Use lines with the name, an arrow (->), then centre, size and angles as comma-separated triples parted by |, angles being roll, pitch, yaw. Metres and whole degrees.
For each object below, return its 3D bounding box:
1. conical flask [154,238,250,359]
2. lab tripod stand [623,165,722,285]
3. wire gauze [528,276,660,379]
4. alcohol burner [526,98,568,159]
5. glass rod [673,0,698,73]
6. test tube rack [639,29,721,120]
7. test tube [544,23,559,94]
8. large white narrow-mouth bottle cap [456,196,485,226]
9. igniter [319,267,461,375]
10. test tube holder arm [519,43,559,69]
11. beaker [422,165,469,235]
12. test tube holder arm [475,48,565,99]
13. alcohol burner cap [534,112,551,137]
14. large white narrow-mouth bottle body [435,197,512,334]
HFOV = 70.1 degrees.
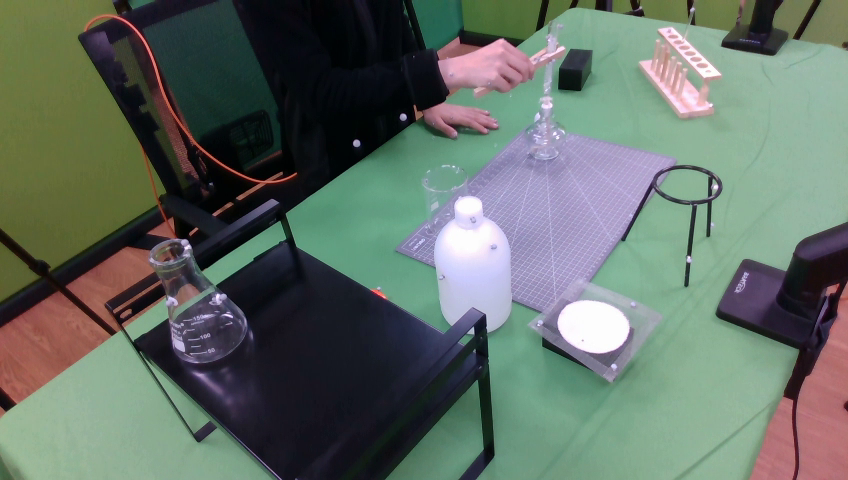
conical flask -> -0.225, 0.055, 0.597 | 0.075, 0.122, 0.075 | -5, 41, 4
lab tripod stand -> 0.365, -0.030, 0.874 | 0.148, 0.132, 0.147 | -6, 41, 6
wire gauze -> 0.214, 0.103, 0.763 | 0.124, 0.011, 0.122 | 30, 52, 35
alcohol burner -> 0.228, -0.210, 1.118 | 0.078, 0.119, 0.077 | -5, 43, 5
glass rod -> 0.537, -0.425, 1.244 | 0.008, 0.200, 0.008 | 0, 47, 0
test tube rack -> 0.527, -0.351, 1.262 | 0.067, 0.085, 0.241 | -8, 40, 1
test tube -> 0.211, -0.298, 1.007 | 0.017, 0.151, 0.017 | -3, 60, 6
large white narrow-mouth bottle cap -> 0.057, -0.036, 0.749 | 0.038, 0.024, 0.037 | -4, 40, 4
igniter -> -0.060, 0.108, 0.862 | 0.274, 0.025, 0.057 | 29, 62, 34
test tube holder arm -> 0.188, -0.296, 0.989 | 0.088, 0.015, 0.010 | -38, 62, -22
beaker -> 0.041, -0.063, 0.986 | 0.073, 0.101, 0.084 | 20, 47, 29
test tube holder arm -> 0.156, -0.269, 0.972 | 0.179, 0.015, 0.013 | -30, 59, -18
alcohol burner cap -> 0.235, -0.231, 1.197 | 0.034, 0.048, 0.033 | -5, 39, 4
large white narrow-mouth bottle body -> 0.066, 0.028, 0.805 | 0.102, 0.195, 0.101 | -4, 40, 4
